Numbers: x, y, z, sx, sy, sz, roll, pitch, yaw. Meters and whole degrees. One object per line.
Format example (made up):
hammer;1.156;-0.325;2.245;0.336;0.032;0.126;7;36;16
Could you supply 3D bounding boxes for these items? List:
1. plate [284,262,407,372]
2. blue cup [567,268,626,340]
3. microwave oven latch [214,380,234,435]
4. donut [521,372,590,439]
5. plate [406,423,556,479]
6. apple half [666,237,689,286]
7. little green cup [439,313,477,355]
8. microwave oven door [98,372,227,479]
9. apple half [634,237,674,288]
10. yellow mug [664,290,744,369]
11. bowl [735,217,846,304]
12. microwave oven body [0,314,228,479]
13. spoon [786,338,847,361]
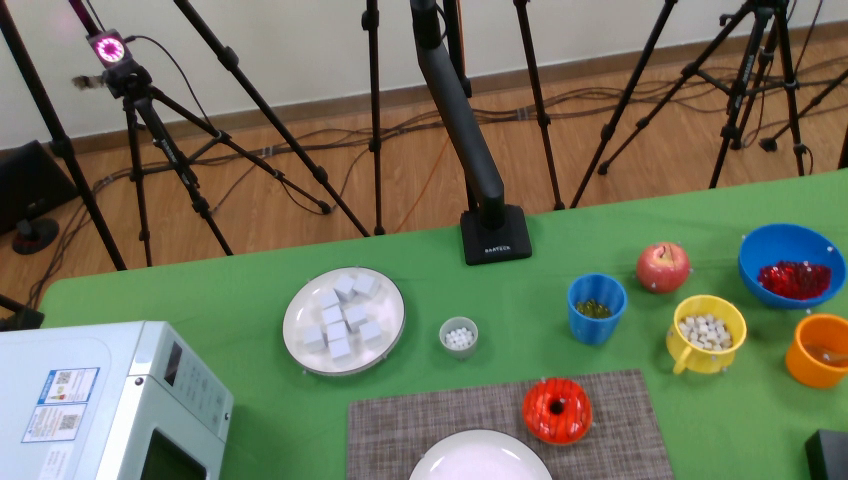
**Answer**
plate;-0.130;0.130;1.019;0.207;0.039;0.205;-4;52;6
blue cup;0.260;0.106;0.934;0.092;0.101;0.092;-4;54;5
microwave oven latch;-0.312;0.256;0.927;0.030;0.030;0.078;-4;53;6
donut;0.190;0.239;0.876;0.099;0.049;0.098;-5;54;7
plate;0.076;0.352;0.811;0.209;0.038;0.207;-4;52;6
apple half;0.410;0.036;0.980;0.033;0.082;0.080;-5;52;10
little green cup;0.057;0.153;0.972;0.061;0.039;0.061;-5;52;6
microwave oven door;-0.325;0.368;0.715;0.039;0.246;0.352;-5;52;5
apple half;0.371;0.039;0.986;0.053;0.075;0.080;-5;56;10
yellow mug;0.408;0.143;0.905;0.099;0.064;0.130;35;67;29
bowl;0.559;0.046;0.947;0.151;0.077;0.150;-5;53;6
microwave oven body;-0.470;0.351;0.758;0.326;0.263;0.437;-5;53;5
spoon;0.585;0.154;0.814;0.041;0.193;0.022;-42;102;-21
